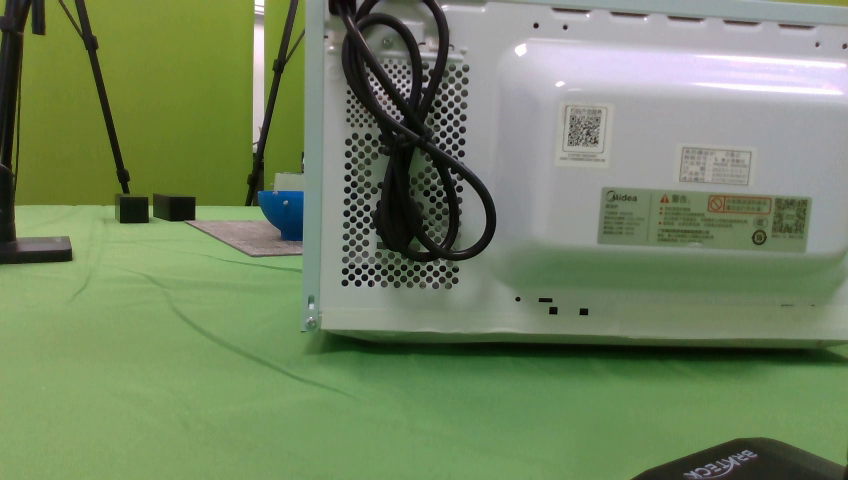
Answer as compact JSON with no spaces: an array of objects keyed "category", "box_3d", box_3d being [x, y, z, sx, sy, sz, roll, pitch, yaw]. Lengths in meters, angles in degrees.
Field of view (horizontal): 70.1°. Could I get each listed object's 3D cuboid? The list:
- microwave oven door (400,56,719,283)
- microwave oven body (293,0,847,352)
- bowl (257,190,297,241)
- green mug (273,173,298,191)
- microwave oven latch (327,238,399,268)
[{"category":"microwave oven door","box_3d":[0.155,-0.078,0.698,0.356,0.243,0.039,2,8,-5]},{"category":"microwave oven body","box_3d":[0.122,-0.055,0.550,0.442,0.260,0.325,3,7,-5]},{"category":"bowl","box_3d":[-0.206,-0.041,1.027,0.151,0.077,0.151,3,8,0]},{"category":"green mug","box_3d":[-0.264,-0.084,1.236,0.093,0.105,0.125,0,8,-13]},{"category":"microwave oven latch","box_3d":[-0.069,0.015,0.694,0.079,0.029,0.030,3,7,-3]}]
